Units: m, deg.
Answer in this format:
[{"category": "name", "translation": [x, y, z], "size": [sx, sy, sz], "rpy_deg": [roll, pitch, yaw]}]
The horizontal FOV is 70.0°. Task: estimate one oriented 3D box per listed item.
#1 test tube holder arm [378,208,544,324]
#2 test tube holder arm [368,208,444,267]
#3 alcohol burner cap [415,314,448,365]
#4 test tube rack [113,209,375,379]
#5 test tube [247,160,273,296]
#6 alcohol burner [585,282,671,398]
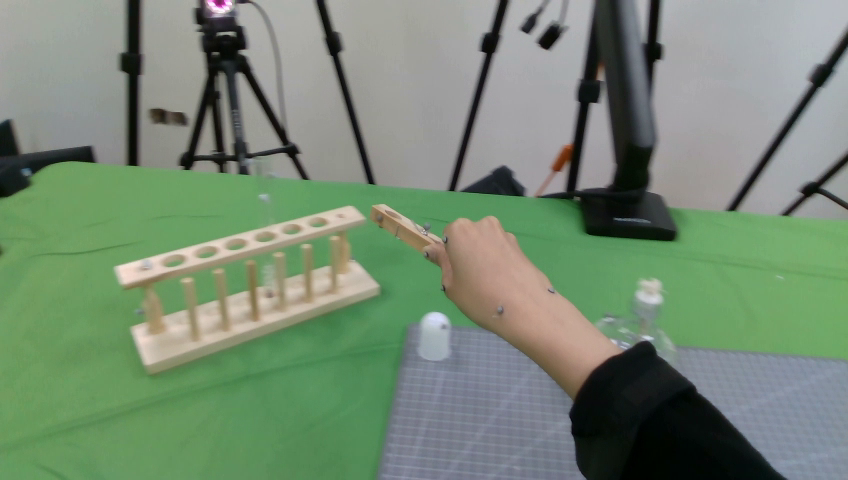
[{"category": "test tube holder arm", "translation": [0.022, 0.016, 0.480], "size": [0.176, 0.015, 0.013], "rpy_deg": [31, 32, 34]}, {"category": "test tube holder arm", "translation": [-0.014, -0.003, 0.501], "size": [0.087, 0.015, 0.010], "rpy_deg": [31, 32, 33]}, {"category": "alcohol burner cap", "translation": [0.008, 0.094, 0.592], "size": [0.034, 0.048, 0.033], "rpy_deg": [2, 33, -1]}, {"category": "test tube rack", "translation": [-0.173, 0.047, 0.622], "size": [0.243, 0.086, 0.066], "rpy_deg": [-18, 37, -29]}, {"category": "test tube", "translation": [-0.166, -0.009, 0.617], "size": [0.017, 0.151, 0.017], "rpy_deg": [2, 26, -1]}, {"category": "alcohol burner", "translation": [0.188, 0.085, 0.549], "size": [0.078, 0.120, 0.077], "rpy_deg": [2, 34, -1]}]
